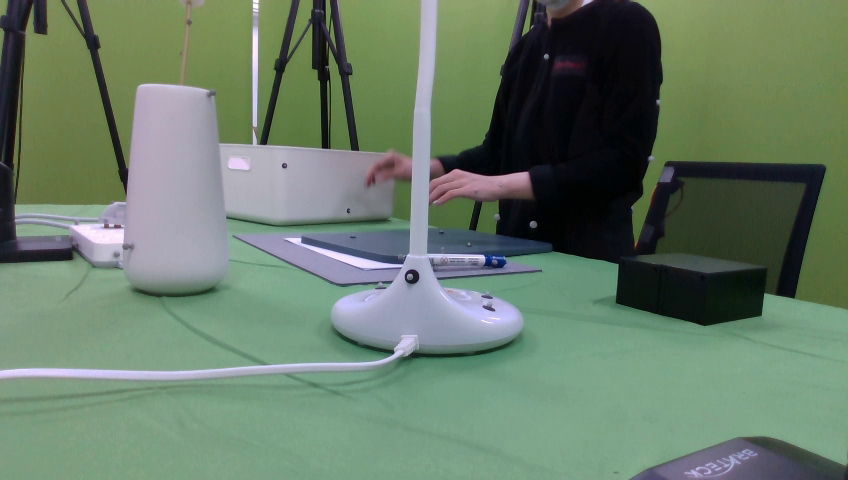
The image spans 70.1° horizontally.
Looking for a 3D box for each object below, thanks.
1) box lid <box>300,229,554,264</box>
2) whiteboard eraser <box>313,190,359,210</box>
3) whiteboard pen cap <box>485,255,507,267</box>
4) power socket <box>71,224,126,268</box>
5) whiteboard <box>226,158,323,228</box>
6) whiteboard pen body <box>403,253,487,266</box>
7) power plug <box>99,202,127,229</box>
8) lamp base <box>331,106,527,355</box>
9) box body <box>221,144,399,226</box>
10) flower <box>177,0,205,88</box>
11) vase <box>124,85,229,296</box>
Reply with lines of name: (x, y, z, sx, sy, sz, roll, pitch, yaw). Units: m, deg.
box lid: (0.011, 0.006, 0.998, 0.374, 0.015, 0.262, -3, 9, -43)
whiteboard eraser: (-0.222, -0.100, 1.517, 0.112, 0.042, 0.056, 9, 20, 34)
whiteboard pen cap: (0.093, 0.028, 0.810, 0.033, 0.018, 0.018, 1, 7, -24)
power socket: (-0.409, 0.004, 0.793, 0.072, 0.032, 0.225, -2, 8, -37)
whiteboard: (-0.276, -0.119, 1.376, 0.216, 0.143, 0.307, 7, 10, 39)
whiteboard pen body: (0.040, 0.026, 0.785, 0.141, 0.017, 0.017, 1, 7, -24)
power plug: (-0.415, -0.026, 0.848, 0.073, 0.052, 0.035, 6, 5, -28)
lamp base: (0.006, -0.012, 0.478, 0.161, 0.180, 0.179, 2, 10, 2)
box body: (-0.264, -0.129, 1.380, 0.253, 0.160, 0.366, 8, 9, 39)
flower: (-0.243, -0.131, 0.609, 0.044, 0.361, 0.038, -5, -12, 12)
vase: (-0.244, -0.047, 0.598, 0.098, 0.200, 0.098, 3, 8, 0)
